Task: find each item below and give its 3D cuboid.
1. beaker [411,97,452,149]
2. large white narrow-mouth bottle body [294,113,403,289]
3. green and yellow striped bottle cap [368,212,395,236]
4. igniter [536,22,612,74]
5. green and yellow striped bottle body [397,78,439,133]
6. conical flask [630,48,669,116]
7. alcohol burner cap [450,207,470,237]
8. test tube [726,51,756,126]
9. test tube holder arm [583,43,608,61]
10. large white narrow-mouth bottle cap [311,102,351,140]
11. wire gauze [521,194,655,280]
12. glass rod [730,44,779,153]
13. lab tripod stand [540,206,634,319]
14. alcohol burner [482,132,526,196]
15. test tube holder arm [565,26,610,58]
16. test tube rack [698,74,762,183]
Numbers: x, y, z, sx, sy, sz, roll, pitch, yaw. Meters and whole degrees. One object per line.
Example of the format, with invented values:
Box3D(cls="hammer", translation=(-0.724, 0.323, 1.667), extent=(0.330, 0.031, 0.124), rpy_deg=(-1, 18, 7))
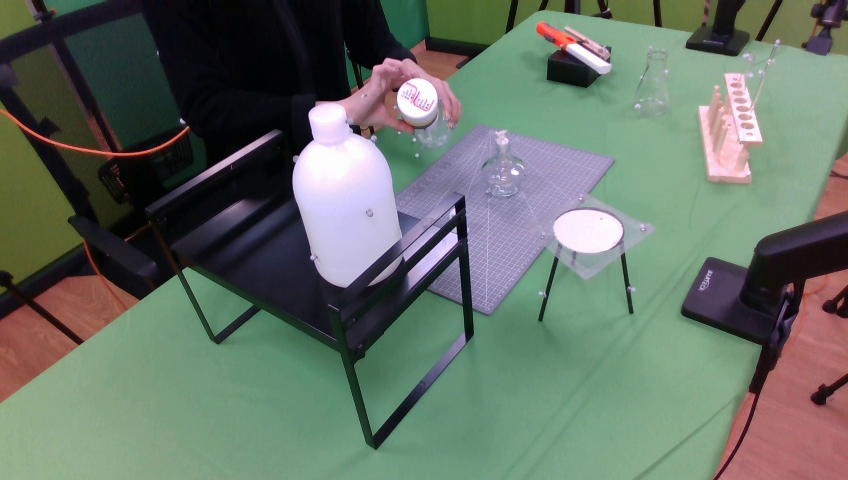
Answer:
Box3D(cls="beaker", translation=(0.008, -0.213, 1.077), extent=(0.074, 0.101, 0.083), rpy_deg=(-6, 76, 12))
Box3D(cls="large white narrow-mouth bottle body", translation=(-0.082, -0.047, 0.634), extent=(0.102, 0.195, 0.101), rpy_deg=(-4, 40, 4))
Box3D(cls="green and yellow striped bottle cap", translation=(-0.071, -0.028, 1.021), extent=(0.045, 0.020, 0.045), rpy_deg=(-5, 40, 5))
Box3D(cls="igniter", translation=(0.330, -0.439, 1.366), extent=(0.057, 0.025, 0.274), rpy_deg=(-11, 41, -19))
Box3D(cls="green and yellow striped bottle body", translation=(-0.008, -0.212, 0.978), extent=(0.063, 0.120, 0.063), rpy_deg=(0, 85, 2))
Box3D(cls="conical flask", translation=(0.456, -0.317, 1.205), extent=(0.075, 0.122, 0.075), rpy_deg=(-4, 41, 4))
Box3D(cls="alcohol burner cap", translation=(0.057, -0.032, 0.987), extent=(0.034, 0.048, 0.033), rpy_deg=(-4, 41, 4))
Box3D(cls="test tube", translation=(0.568, -0.268, 1.085), extent=(0.017, 0.151, 0.017), rpy_deg=(-4, 46, 4))
Box3D(cls="test tube holder arm", translation=(0.379, -0.420, 1.341), extent=(0.010, 0.015, 0.087), rpy_deg=(-39, 41, 10))
Box3D(cls="large white narrow-mouth bottle cap", translation=(-0.089, -0.114, 0.579), extent=(0.038, 0.024, 0.037), rpy_deg=(-4, 39, 3))
Box3D(cls="wire gauze", translation=(0.207, -0.012, 0.772), extent=(0.122, 0.011, 0.124), rpy_deg=(-28, 44, -20))
Box3D(cls="glass rod", translation=(0.555, -0.234, 1.020), extent=(0.008, 0.200, 0.008), rpy_deg=(2, 40, -1))
Box3D(cls="lab tripod stand", translation=(0.218, 0.034, 0.821), extent=(0.148, 0.132, 0.147), rpy_deg=(-4, 42, 4))
Box3D(cls="alcohol burner", translation=(0.138, -0.136, 1.042), extent=(0.078, 0.119, 0.077), rpy_deg=(-4, 43, 4))
Box3D(cls="test tube holder arm", translation=(0.369, -0.450, 1.373), extent=(0.013, 0.015, 0.177), rpy_deg=(-39, 41, 10))
Box3D(cls="test tube rack", translation=(0.547, -0.208, 1.095), extent=(0.066, 0.085, 0.242), rpy_deg=(5, 42, 15))
